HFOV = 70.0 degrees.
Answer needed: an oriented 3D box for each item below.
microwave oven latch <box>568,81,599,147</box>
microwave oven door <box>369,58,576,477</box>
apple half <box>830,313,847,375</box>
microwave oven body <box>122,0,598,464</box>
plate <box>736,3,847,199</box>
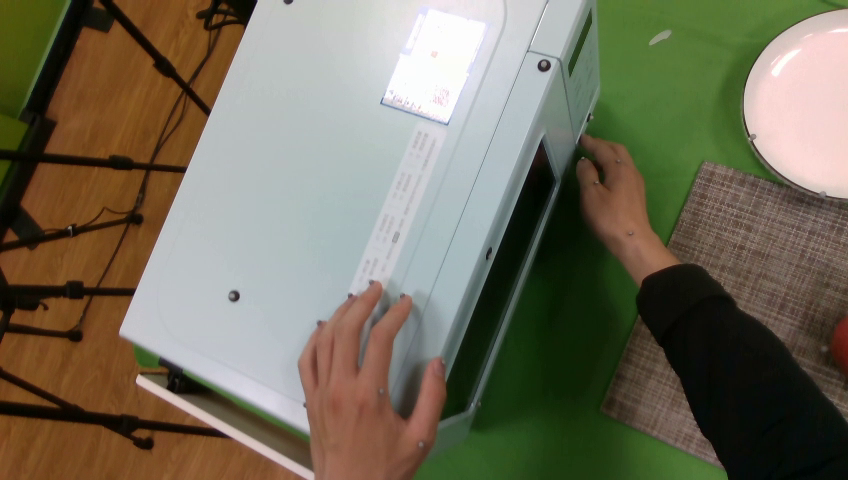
[{"bbox_3d":[0.176,-0.148,0.693,0.030,0.030,0.079,21,88,19],"label":"microwave oven latch"},{"bbox_3d":[0.063,0.037,0.589,0.039,0.245,0.355,20,87,20],"label":"microwave oven door"},{"bbox_3d":[0.418,0.099,0.574,0.053,0.075,0.080,1,85,23],"label":"apple half"},{"bbox_3d":[-0.049,-0.050,0.643,0.324,0.262,0.441,21,88,19],"label":"microwave oven body"},{"bbox_3d":[0.437,-0.142,0.631,0.207,0.039,0.207,-3,81,16],"label":"plate"}]
